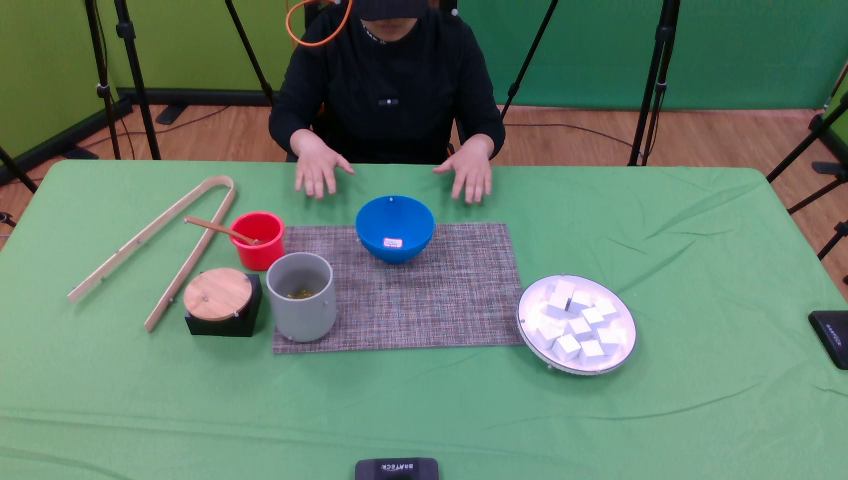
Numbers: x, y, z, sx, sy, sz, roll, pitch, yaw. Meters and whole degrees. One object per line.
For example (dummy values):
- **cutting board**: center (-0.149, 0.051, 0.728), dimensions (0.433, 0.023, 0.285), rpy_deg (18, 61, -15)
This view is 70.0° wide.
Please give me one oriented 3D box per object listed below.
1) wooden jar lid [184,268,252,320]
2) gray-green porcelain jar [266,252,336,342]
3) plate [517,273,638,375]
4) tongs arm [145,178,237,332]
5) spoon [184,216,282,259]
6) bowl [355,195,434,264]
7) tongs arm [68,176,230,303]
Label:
- **wooden jar lid**: center (-0.343, 0.092, 1.015), dimensions (0.108, 0.021, 0.107), rpy_deg (3, 46, -3)
- **gray-green porcelain jar**: center (-0.202, 0.100, 1.009), dimensions (0.106, 0.127, 0.105), rpy_deg (2, 46, -2)
- **plate**: center (0.264, 0.148, 1.060), dimensions (0.209, 0.038, 0.208), rpy_deg (3, 46, -3)
- **tongs arm**: center (-0.432, 0.014, 1.149), dimensions (0.028, 0.028, 0.385), rpy_deg (8, 46, 7)
- **spoon**: center (-0.341, -0.008, 1.096), dimensions (0.195, 0.021, 0.041), rpy_deg (29, 35, -41)
- **bowl**: center (-0.056, -0.008, 1.158), dimensions (0.151, 0.077, 0.150), rpy_deg (2, 46, -2)
- **tongs arm**: center (-0.510, -0.011, 1.162), dimensions (0.050, 0.026, 0.383), rpy_deg (20, 47, 14)
